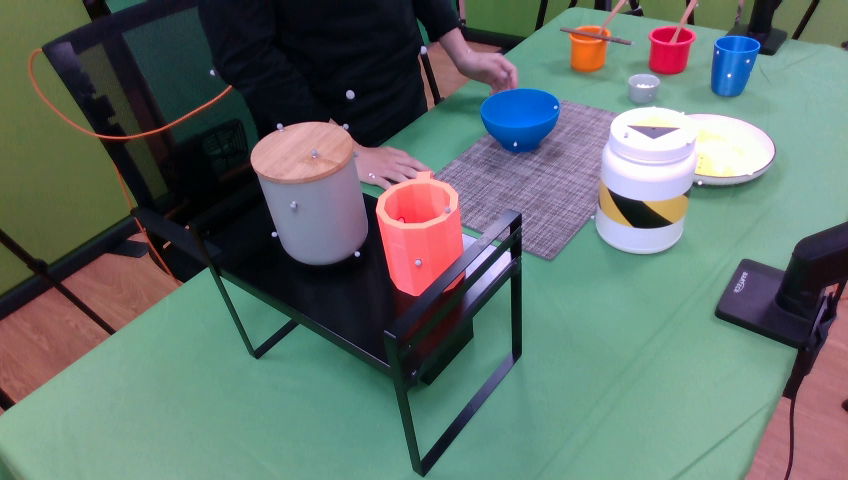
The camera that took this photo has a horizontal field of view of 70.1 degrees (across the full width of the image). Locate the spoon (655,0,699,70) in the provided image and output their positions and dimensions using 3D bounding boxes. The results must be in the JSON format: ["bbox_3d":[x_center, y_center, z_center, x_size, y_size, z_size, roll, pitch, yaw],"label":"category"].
[{"bbox_3d":[0.567,-0.463,1.337,0.041,0.022,0.193,30,96,38],"label":"spoon"}]

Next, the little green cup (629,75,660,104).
[{"bbox_3d":[0.457,-0.314,1.260,0.061,0.039,0.061,-4,40,4],"label":"little green cup"}]

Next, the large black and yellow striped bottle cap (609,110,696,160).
[{"bbox_3d":[0.319,-0.150,0.849,0.115,0.019,0.114,-4,39,3],"label":"large black and yellow striped bottle cap"}]

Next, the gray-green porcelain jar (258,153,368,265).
[{"bbox_3d":[-0.122,-0.043,0.692,0.106,0.127,0.105,-4,40,4],"label":"gray-green porcelain jar"}]

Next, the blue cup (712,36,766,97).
[{"bbox_3d":[0.627,-0.350,1.227,0.092,0.100,0.092,-4,39,4],"label":"blue cup"}]

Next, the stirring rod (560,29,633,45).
[{"bbox_3d":[0.381,-0.452,1.345,0.174,0.006,0.014,25,49,33],"label":"stirring rod"}]

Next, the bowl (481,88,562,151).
[{"bbox_3d":[0.187,-0.223,1.161,0.151,0.077,0.150,-4,40,4],"label":"bowl"}]

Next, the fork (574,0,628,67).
[{"bbox_3d":[0.413,-0.481,1.377,0.207,0.019,0.028,-56,43,12],"label":"fork"}]

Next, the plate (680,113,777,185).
[{"bbox_3d":[0.506,-0.158,1.073,0.209,0.038,0.208,-5,40,4],"label":"plate"}]

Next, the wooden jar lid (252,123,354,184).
[{"bbox_3d":[-0.129,-0.090,0.652,0.108,0.021,0.108,-4,41,4],"label":"wooden jar lid"}]

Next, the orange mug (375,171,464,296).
[{"bbox_3d":[-0.001,-0.016,0.662,0.083,0.101,0.125,-2,45,8],"label":"orange mug"}]

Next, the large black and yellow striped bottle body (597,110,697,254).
[{"bbox_3d":[0.331,-0.086,0.904,0.131,0.185,0.130,-5,41,4],"label":"large black and yellow striped bottle body"}]
